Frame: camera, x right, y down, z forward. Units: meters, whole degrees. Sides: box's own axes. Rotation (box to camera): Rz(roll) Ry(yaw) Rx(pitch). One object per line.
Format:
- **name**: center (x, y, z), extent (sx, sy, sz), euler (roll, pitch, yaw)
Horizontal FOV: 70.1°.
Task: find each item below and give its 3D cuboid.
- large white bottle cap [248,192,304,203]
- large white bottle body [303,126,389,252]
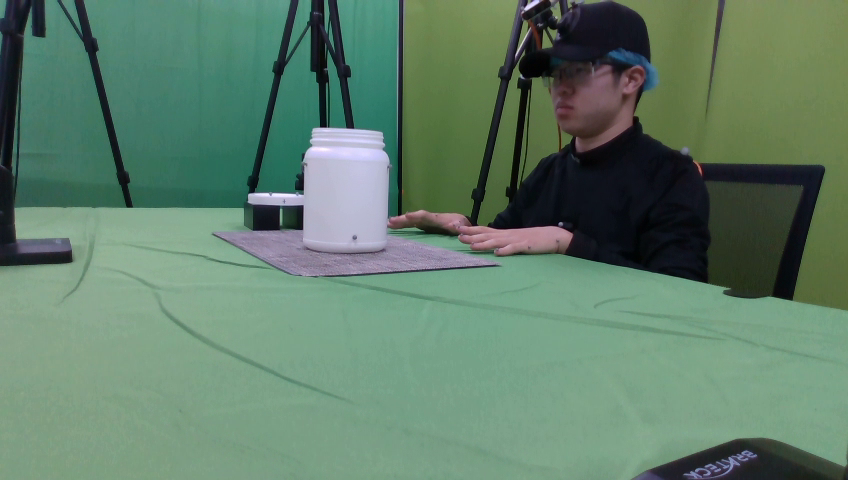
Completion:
- **large white bottle cap**: center (-0.294, -0.084, 1.213), extent (0.115, 0.018, 0.115), euler (2, 7, 0)
- **large white bottle body**: center (-0.120, -0.079, 0.936), extent (0.131, 0.184, 0.130), euler (2, 7, 0)
